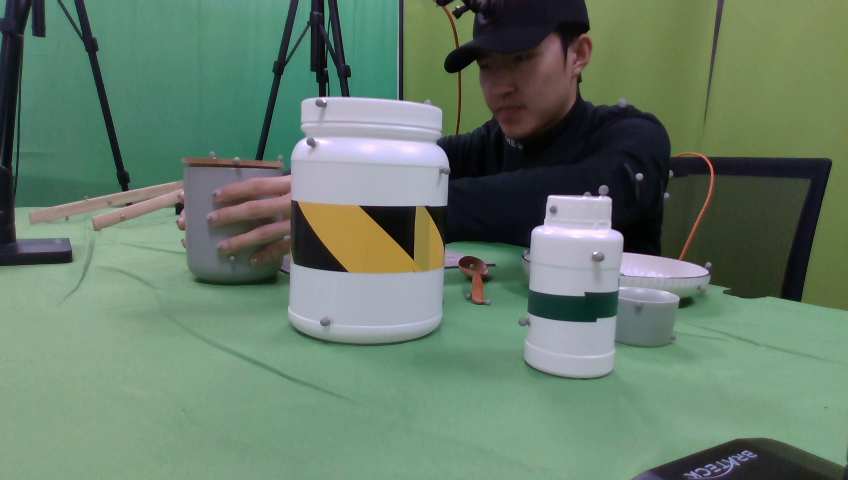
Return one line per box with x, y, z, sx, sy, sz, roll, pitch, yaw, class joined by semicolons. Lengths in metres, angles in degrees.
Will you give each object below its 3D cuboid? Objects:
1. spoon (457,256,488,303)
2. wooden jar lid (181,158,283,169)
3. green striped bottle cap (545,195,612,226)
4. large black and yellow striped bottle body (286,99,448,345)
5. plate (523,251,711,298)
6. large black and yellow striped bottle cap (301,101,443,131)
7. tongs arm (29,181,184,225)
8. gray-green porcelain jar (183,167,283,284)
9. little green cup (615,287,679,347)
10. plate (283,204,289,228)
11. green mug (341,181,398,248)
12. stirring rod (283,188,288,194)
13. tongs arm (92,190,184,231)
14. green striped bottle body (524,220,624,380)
0.059;0.043;0.695;0.041;0.021;0.193;23;6;0;spoon
-0.212;-0.079;0.674;0.108;0.020;0.108;3;5;0;wooden jar lid
0.106;-0.020;0.414;0.044;0.020;0.044;2;4;0;green striped bottle cap
-0.047;-0.018;0.501;0.131;0.184;0.130;2;7;0;large black and yellow striped bottle body
0.219;0.042;0.706;0.209;0.038;0.209;2;7;0;plate
-0.042;-0.100;0.491;0.115;0.019;0.115;1;8;0;large black and yellow striped bottle cap
-0.609;-0.083;1.245;0.050;0.026;0.386;5;16;23;tongs arm
-0.213;-0.018;0.682;0.106;0.126;0.106;1;7;0;gray-green porcelain jar
0.180;0.064;0.506;0.061;0.038;0.061;1;8;0;little green cup
-0.342;-0.050;1.259;0.208;0.039;0.207;3;7;0;plate
-0.090;-0.044;0.997;0.093;0.105;0.125;1;7;-8;green mug
-0.354;-0.122;1.519;0.006;0.014;0.176;2;6;1;stirring rod
-0.534;-0.076;1.221;0.028;0.028;0.388;-2;15;12;tongs arm
0.104;0.031;0.422;0.063;0.119;0.063;2;8;0;green striped bottle body
